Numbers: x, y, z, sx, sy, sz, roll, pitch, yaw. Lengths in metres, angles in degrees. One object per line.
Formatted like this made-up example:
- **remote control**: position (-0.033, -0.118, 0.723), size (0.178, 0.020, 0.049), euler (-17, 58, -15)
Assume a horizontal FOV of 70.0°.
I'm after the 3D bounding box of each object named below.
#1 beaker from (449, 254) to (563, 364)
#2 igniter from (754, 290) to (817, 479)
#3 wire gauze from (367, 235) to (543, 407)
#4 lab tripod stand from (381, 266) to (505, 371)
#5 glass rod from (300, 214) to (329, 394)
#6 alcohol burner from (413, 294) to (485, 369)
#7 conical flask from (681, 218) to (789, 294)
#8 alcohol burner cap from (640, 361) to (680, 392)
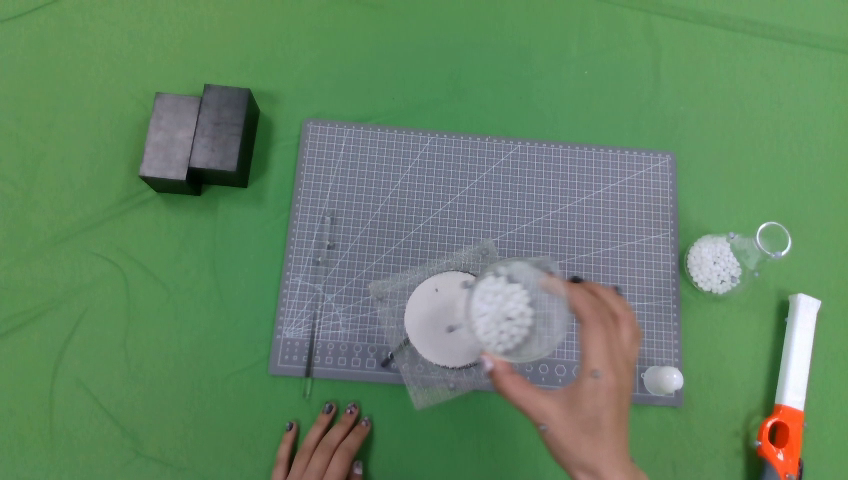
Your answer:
- **beaker**: position (0.060, 0.052, 0.472), size (0.074, 0.100, 0.084), euler (33, 80, 1)
- **igniter**: position (0.390, 0.188, 0.657), size (0.057, 0.025, 0.275), euler (20, 75, -8)
- **wire gauze**: position (0.027, 0.070, 0.538), size (0.125, 0.011, 0.121), euler (-20, 79, -7)
- **lab tripod stand**: position (0.022, 0.087, 0.603), size (0.148, 0.132, 0.147), euler (1, 77, -2)
- **glass rod**: position (-0.119, 0.067, 0.664), size (0.008, 0.008, 0.199), euler (6, 78, -2)
- **alcohol burner**: position (0.025, 0.090, 0.613), size (0.078, 0.119, 0.077), euler (0, 74, -1)
- **conical flask**: position (0.336, 0.011, 0.649), size (0.075, 0.122, 0.075), euler (1, 75, -2)
- **alcohol burner cap**: position (0.256, 0.145, 0.649), size (0.034, 0.048, 0.033), euler (1, 76, -3)
